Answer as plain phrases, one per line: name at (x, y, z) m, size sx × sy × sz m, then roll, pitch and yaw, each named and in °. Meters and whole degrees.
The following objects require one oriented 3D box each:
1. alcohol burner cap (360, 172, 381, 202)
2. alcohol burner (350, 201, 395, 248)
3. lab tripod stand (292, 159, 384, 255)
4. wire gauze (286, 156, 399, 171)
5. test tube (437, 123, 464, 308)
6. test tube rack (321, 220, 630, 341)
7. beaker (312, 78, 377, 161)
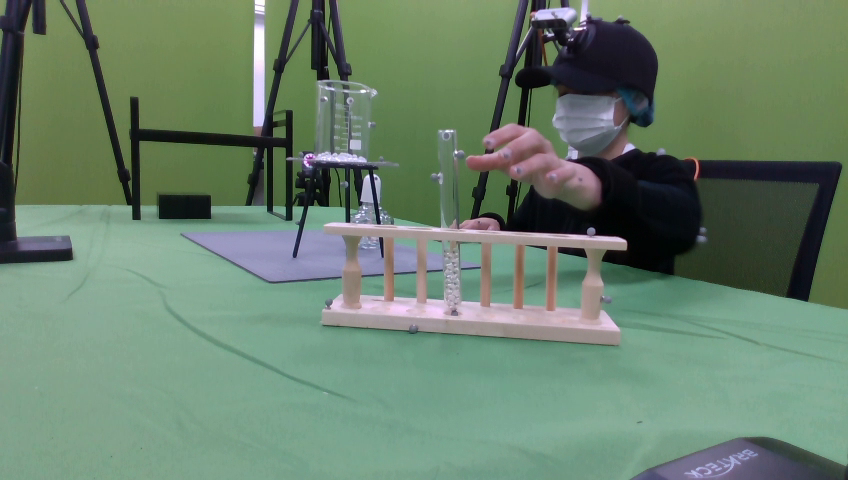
alcohol burner cap at (-0.081, -0.084, 0.949) m, size 0.034 × 0.048 × 0.034 m, roll 7°, pitch 7°, yaw -1°
alcohol burner at (-0.084, -0.048, 0.953) m, size 0.078 × 0.119 × 0.078 m, roll 1°, pitch 6°, yaw 0°
lab tripod stand at (-0.105, -0.039, 0.797) m, size 0.148 × 0.131 × 0.148 m, roll 2°, pitch 5°, yaw 0°
wire gauze at (-0.101, -0.103, 0.788) m, size 0.121 × 0.011 × 0.125 m, roll 5°, pitch 4°, yaw 6°
test tube at (0.021, -0.018, 0.488) m, size 0.017 × 0.150 × 0.017 m, roll -3°, pitch 9°, yaw 1°
test tube rack at (0.041, 0.029, 0.511) m, size 0.242 × 0.085 × 0.067 m, roll 3°, pitch 7°, yaw 5°
beaker at (-0.103, -0.151, 0.776) m, size 0.084 × 0.100 × 0.074 m, roll 5°, pitch 7°, yaw 14°
